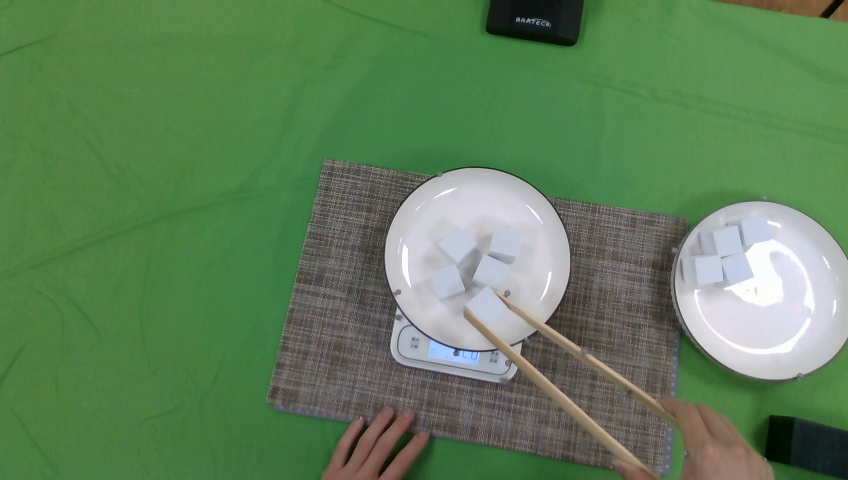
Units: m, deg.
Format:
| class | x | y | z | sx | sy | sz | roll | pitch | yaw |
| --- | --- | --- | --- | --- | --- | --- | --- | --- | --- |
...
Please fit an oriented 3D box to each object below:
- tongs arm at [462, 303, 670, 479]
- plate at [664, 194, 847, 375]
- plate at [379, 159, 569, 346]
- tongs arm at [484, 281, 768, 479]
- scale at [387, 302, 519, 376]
| class | x | y | z | sx | sy | sz | roll | pitch | yaw |
| --- | --- | --- | --- | --- | --- | --- | --- | --- | --- |
| tongs arm | 0.178 | 0.174 | 0.539 | 0.384 | 0.028 | 0.028 | 38 | 66 | 26 |
| plate | 0.378 | 0.051 | 0.700 | 0.208 | 0.039 | 0.206 | 0 | 78 | 0 |
| plate | 0.055 | 0.014 | 0.676 | 0.209 | 0.038 | 0.208 | 0 | 78 | 0 |
| tongs arm | 0.195 | 0.159 | 0.546 | 0.382 | 0.027 | 0.050 | 33 | 68 | 24 |
| scale | 0.045 | 0.048 | 0.702 | 0.148 | 0.032 | 0.200 | 10 | 79 | 3 |
